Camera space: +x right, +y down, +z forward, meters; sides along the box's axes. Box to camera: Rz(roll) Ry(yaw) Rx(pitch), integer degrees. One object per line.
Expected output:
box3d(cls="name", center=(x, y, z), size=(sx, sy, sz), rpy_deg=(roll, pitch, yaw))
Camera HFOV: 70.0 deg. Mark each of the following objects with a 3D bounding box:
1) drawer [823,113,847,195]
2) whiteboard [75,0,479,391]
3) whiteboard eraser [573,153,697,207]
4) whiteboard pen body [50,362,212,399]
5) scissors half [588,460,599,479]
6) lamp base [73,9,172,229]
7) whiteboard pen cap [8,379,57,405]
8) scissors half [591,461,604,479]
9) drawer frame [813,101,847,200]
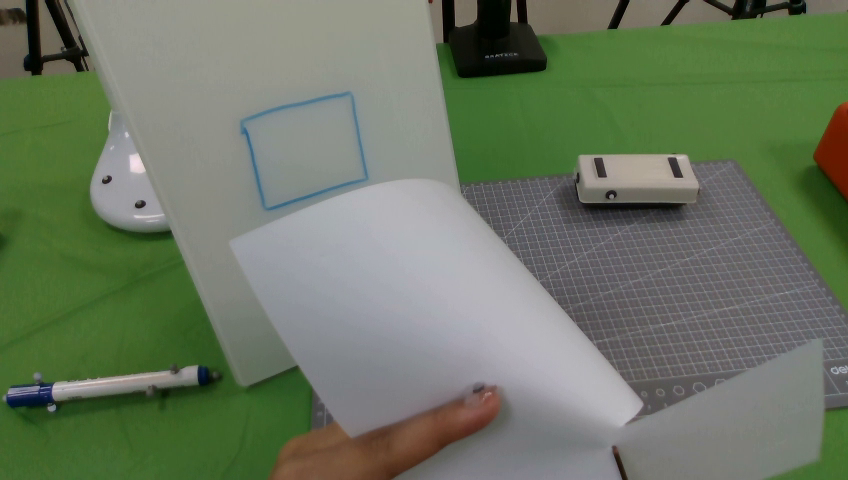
box3d(cls="drawer", center=(0.519, -0.039, 0.553), size=(0.194, 0.074, 0.209), rpy_deg=(-4, 44, 0))
box3d(cls="whiteboard", center=(-0.102, -0.075, 0.495), size=(0.217, 0.308, 0.142), rpy_deg=(-21, 29, -16))
box3d(cls="whiteboard eraser", center=(0.210, -0.059, 0.609), size=(0.112, 0.042, 0.055), rpy_deg=(0, 44, 2))
box3d(cls="whiteboard pen body", center=(-0.240, 0.111, 0.474), size=(0.141, 0.017, 0.017), rpy_deg=(-5, 45, -8))
box3d(cls="scissors half", center=(0.102, 0.160, 0.242), size=(0.013, 0.175, 0.040), rpy_deg=(-27, 8, 7))
box3d(cls="lamp base", center=(-0.285, -0.128, 0.603), size=(0.178, 0.182, 0.160), rpy_deg=(25, 51, 28))
box3d(cls="whiteboard pen cap", center=(-0.298, 0.117, 0.467), size=(0.033, 0.018, 0.018), rpy_deg=(-4, 45, -10))
box3d(cls="scissors half", center=(0.101, 0.155, 0.261), size=(0.013, 0.176, 0.040), rpy_deg=(-28, 25, 1))
box3d(cls="drawer frame", center=(0.518, -0.045, 0.557), size=(0.202, 0.083, 0.211), rpy_deg=(-5, 44, -1))
